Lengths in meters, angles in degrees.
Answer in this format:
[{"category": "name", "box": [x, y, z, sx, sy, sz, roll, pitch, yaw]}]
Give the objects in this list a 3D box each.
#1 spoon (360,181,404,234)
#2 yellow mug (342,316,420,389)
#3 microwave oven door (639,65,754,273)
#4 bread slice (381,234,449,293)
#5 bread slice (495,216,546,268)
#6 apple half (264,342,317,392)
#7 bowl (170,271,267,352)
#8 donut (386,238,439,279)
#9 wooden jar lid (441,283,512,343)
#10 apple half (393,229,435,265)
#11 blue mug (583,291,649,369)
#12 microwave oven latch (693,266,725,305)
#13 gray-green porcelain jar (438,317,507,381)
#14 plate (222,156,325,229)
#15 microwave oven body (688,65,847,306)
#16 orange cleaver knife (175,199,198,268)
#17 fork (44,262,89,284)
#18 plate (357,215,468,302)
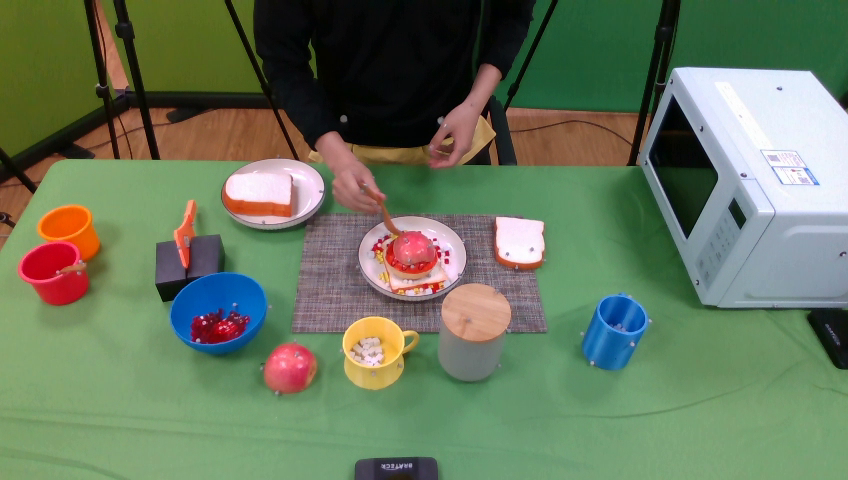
[{"category": "spoon", "box": [-0.075, -0.058, 1.095, 0.041, 0.195, 0.021, 33, 76, 30]}, {"category": "yellow mug", "box": [-0.067, 0.178, 0.990, 0.131, 0.064, 0.099, -16, 50, -19]}, {"category": "microwave oven door", "box": [0.522, -0.147, 1.193, 0.039, 0.245, 0.353, 0, 47, -3]}, {"category": "bread slice", "box": [-0.027, 0.040, 1.140, 0.107, 0.018, 0.133, -12, 49, -17]}, {"category": "bread slice", "box": [0.194, 0.002, 1.205, 0.105, 0.019, 0.131, 5, 45, 2]}, {"category": "apple half", "box": [-0.214, 0.198, 0.970, 0.074, 0.053, 0.080, 19, 48, 10]}, {"category": "bowl", "box": [-0.333, 0.132, 1.006, 0.151, 0.077, 0.150, 2, 46, -2]}, {"category": "donut", "box": [-0.021, 0.028, 1.110, 0.099, 0.048, 0.098, 3, 46, -3]}, {"category": "wooden jar lid", "box": [0.080, 0.114, 0.931, 0.108, 0.021, 0.107, 1, 49, 0]}, {"category": "apple half", "box": [-0.018, 0.005, 1.083, 0.081, 0.033, 0.081, 6, 50, -7]}, {"category": "blue mug", "box": [0.324, 0.142, 1.023, 0.082, 0.106, 0.116, 15, 47, 11]}, {"category": "microwave oven latch", "box": [0.523, 0.082, 1.115, 0.030, 0.029, 0.078, 3, 46, 0]}, {"category": "gray-green porcelain jar", "box": [0.076, 0.158, 0.977, 0.106, 0.127, 0.105, 2, 47, -2]}, {"category": "plate", "box": [-0.308, -0.095, 1.251, 0.209, 0.038, 0.208, 2, 47, -2]}, {"category": "microwave oven body", "box": [0.669, -0.111, 1.176, 0.326, 0.261, 0.439, 0, 46, -3]}, {"category": "orange cleaver knife", "box": [-0.438, -0.017, 1.138, 0.012, 0.077, 0.210, -14, 27, -7]}, {"category": "fork", "box": [-0.598, 0.054, 1.014, 0.207, 0.019, 0.028, -15, 29, 45]}, {"category": "plate", "box": [-0.022, 0.037, 1.141, 0.208, 0.039, 0.206, 2, 46, -2]}]
